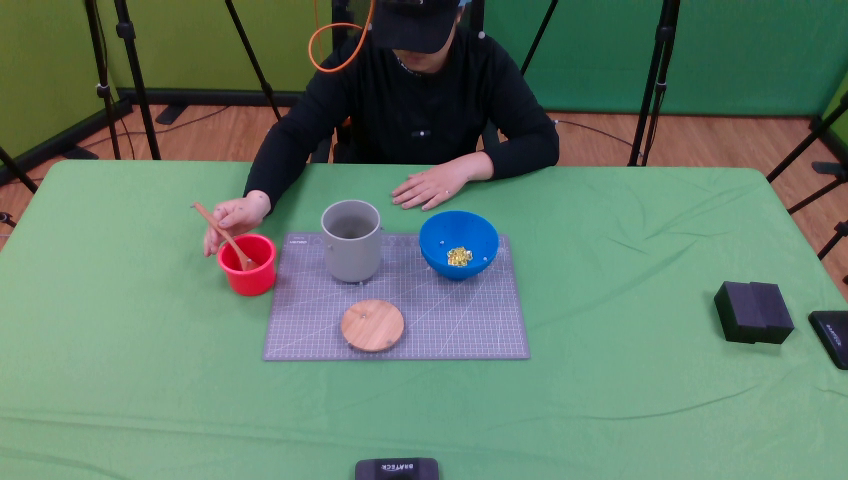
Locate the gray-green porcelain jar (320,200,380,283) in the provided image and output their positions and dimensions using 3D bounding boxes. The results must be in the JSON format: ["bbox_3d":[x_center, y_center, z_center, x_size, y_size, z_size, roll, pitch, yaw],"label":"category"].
[{"bbox_3d":[-0.132,0.007,1.106,0.106,0.127,0.105,2,46,-2],"label":"gray-green porcelain jar"}]

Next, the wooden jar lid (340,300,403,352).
[{"bbox_3d":[-0.090,0.150,1.046,0.108,0.021,0.107,3,47,-3],"label":"wooden jar lid"}]

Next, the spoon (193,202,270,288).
[{"bbox_3d":[-0.342,0.008,1.078,0.021,0.194,0.041,-20,21,41],"label":"spoon"}]

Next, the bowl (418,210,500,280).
[{"bbox_3d":[0.062,0.022,1.140,0.151,0.077,0.150,2,46,-2],"label":"bowl"}]
